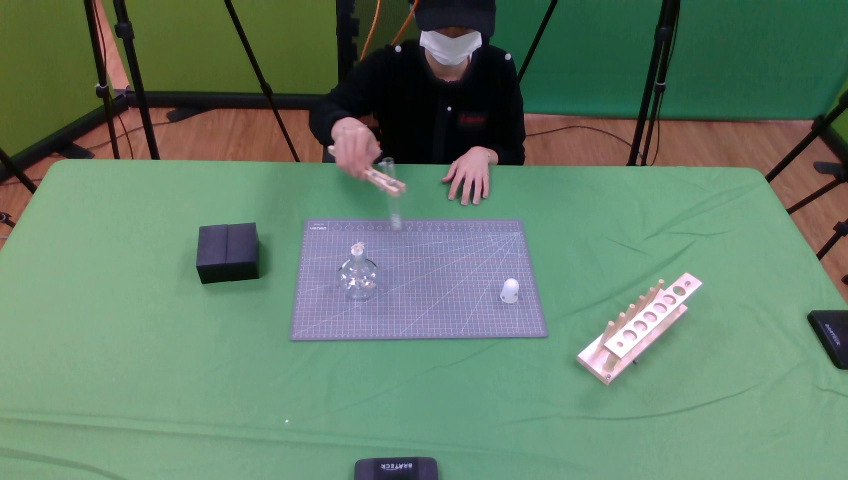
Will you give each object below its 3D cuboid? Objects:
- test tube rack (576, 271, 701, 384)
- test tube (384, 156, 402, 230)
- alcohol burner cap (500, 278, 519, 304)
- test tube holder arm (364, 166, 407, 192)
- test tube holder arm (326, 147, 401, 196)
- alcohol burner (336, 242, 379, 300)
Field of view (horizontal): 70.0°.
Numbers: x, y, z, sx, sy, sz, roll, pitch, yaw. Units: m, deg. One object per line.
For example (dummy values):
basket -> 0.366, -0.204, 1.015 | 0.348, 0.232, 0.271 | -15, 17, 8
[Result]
test tube rack -> 0.373, 0.138, 1.047 | 0.242, 0.085, 0.066 | -31, 56, -29
test tube -> -0.049, -0.072, 0.990 | 0.017, 0.151, 0.017 | -2, 44, 3
alcohol burner cap -> 0.157, 0.090, 1.104 | 0.034, 0.048, 0.033 | 2, 46, -2
test tube holder arm -> -0.066, -0.100, 0.988 | 0.087, 0.015, 0.010 | 25, 46, 25
test tube holder arm -> -0.104, -0.116, 1.007 | 0.177, 0.015, 0.013 | 31, 48, 30
alcohol burner -> -0.118, 0.050, 1.072 | 0.078, 0.120, 0.077 | 2, 44, -1
